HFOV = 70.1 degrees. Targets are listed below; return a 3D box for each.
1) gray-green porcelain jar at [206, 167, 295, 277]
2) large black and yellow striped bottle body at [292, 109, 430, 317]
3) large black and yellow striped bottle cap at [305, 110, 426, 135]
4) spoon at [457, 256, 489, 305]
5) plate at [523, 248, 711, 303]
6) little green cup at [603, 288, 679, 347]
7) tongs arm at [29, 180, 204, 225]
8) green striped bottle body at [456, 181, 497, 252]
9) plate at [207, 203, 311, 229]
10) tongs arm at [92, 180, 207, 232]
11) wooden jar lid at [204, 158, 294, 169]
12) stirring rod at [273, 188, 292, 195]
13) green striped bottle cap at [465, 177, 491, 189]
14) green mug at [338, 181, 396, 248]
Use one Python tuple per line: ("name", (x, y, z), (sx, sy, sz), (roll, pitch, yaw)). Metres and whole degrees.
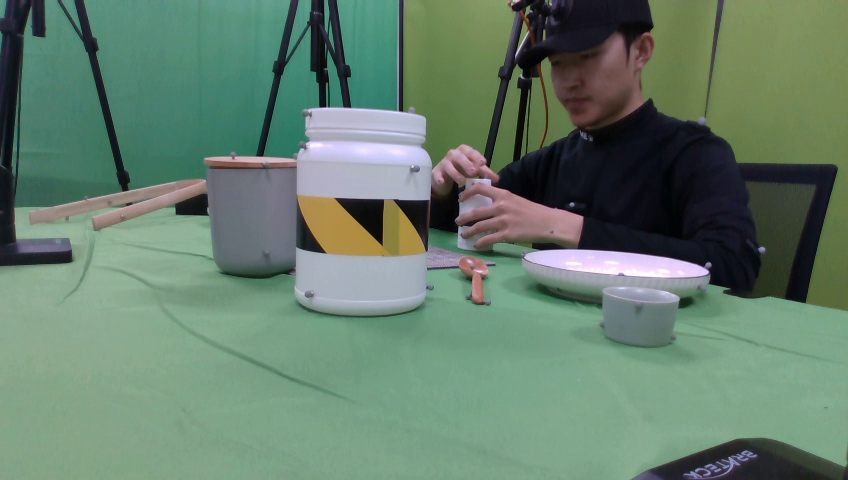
("gray-green porcelain jar", (-0.201, -0.024, 0.724), (0.106, 0.126, 0.106), (-1, 9, 1))
("large black and yellow striped bottle body", (-0.060, -0.028, 0.585), (0.131, 0.184, 0.130), (3, 7, 0))
("large black and yellow striped bottle cap", (-0.055, -0.110, 0.574), (0.115, 0.019, 0.115), (1, 7, 0))
("spoon", (0.059, 0.044, 0.696), (0.041, 0.021, 0.193), (22, 7, 0))
("plate", (0.219, 0.041, 0.706), (0.209, 0.038, 0.209), (2, 7, 0))
("little green cup", (0.180, 0.064, 0.505), (0.061, 0.038, 0.061), (2, 7, 0))
("tongs arm", (-0.609, -0.083, 1.245), (0.050, 0.026, 0.386), (5, 16, 23))
("green striped bottle body", (0.090, -0.043, 1.023), (0.063, 0.119, 0.063), (4, 8, 0))
("plate", (-0.342, -0.050, 1.259), (0.208, 0.039, 0.207), (3, 7, 0))
("tongs arm", (-0.534, -0.076, 1.221), (0.028, 0.028, 0.388), (-2, 15, 12))
("wooden jar lid", (-0.202, -0.086, 0.714), (0.108, 0.020, 0.108), (3, 11, 0))
("stirring rod", (-0.354, -0.122, 1.519), (0.006, 0.014, 0.176), (2, 6, 1))
("green striped bottle cap", (0.091, -0.095, 1.017), (0.044, 0.020, 0.044), (2, 6, 0))
("green mug", (-0.097, -0.044, 0.995), (0.093, 0.105, 0.125), (-1, 8, -21))
